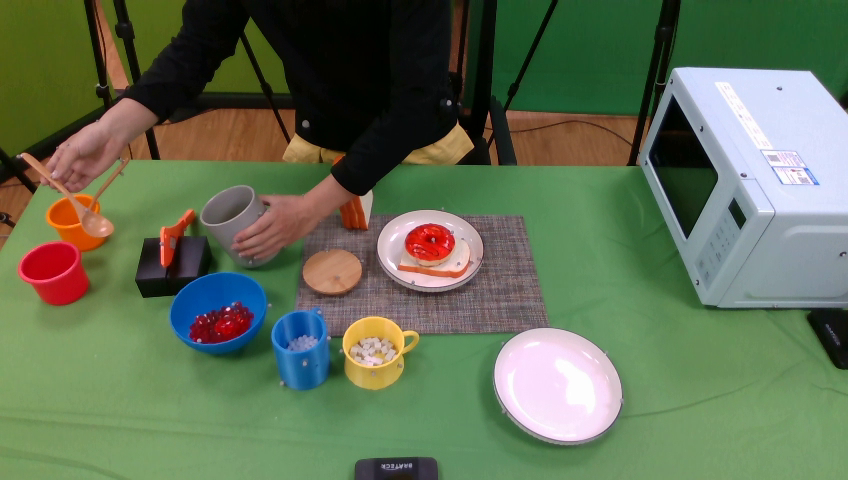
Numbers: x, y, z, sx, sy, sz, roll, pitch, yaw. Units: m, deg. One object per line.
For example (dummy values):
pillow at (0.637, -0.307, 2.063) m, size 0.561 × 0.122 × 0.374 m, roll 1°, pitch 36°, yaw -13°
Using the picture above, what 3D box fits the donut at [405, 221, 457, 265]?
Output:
donut at (0.013, 0.004, 1.136) m, size 0.099 × 0.048 × 0.098 m, roll 0°, pitch 46°, yaw 0°

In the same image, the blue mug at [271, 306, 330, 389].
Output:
blue mug at (-0.188, 0.163, 0.969) m, size 0.082 × 0.106 × 0.116 m, roll 15°, pitch 47°, yaw 10°

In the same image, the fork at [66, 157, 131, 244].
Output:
fork at (-0.609, -0.074, 1.133) m, size 0.207 × 0.019 × 0.028 m, roll -52°, pitch 52°, yaw 10°

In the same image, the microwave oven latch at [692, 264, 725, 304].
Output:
microwave oven latch at (0.522, 0.081, 1.116) m, size 0.030 × 0.029 × 0.078 m, roll 1°, pitch 46°, yaw -2°

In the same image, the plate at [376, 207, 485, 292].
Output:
plate at (0.012, 0.021, 1.159) m, size 0.209 × 0.038 × 0.208 m, roll 2°, pitch 47°, yaw -2°

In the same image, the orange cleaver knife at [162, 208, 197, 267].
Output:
orange cleaver knife at (-0.454, -0.010, 1.129) m, size 0.012 × 0.077 × 0.210 m, roll -2°, pitch 17°, yaw -5°

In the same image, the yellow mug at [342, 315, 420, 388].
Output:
yellow mug at (-0.068, 0.177, 0.991) m, size 0.131 × 0.064 × 0.099 m, roll -15°, pitch 50°, yaw -19°

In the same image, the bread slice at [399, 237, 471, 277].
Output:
bread slice at (0.025, 0.025, 1.161) m, size 0.131 × 0.019 × 0.104 m, roll 7°, pitch 47°, yaw 8°

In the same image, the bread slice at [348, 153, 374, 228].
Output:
bread slice at (-0.125, -0.105, 1.207) m, size 0.018 × 0.135 × 0.106 m, roll -2°, pitch 47°, yaw 9°

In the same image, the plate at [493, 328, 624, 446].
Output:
plate at (0.213, 0.236, 0.974) m, size 0.208 × 0.039 × 0.206 m, roll 2°, pitch 46°, yaw -2°

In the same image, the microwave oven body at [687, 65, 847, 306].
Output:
microwave oven body at (0.669, -0.111, 1.176) m, size 0.326 × 0.261 × 0.439 m, roll 0°, pitch 46°, yaw -3°

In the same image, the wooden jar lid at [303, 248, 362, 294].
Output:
wooden jar lid at (-0.169, 0.059, 1.122) m, size 0.108 × 0.021 × 0.107 m, roll 2°, pitch 46°, yaw -2°

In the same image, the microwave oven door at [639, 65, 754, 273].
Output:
microwave oven door at (0.522, -0.147, 1.192) m, size 0.039 × 0.245 × 0.353 m, roll 0°, pitch 47°, yaw -3°

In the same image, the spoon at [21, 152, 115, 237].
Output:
spoon at (-0.583, -0.076, 0.991) m, size 0.194 × 0.021 × 0.041 m, roll 47°, pitch 48°, yaw -5°

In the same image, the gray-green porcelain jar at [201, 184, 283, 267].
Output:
gray-green porcelain jar at (-0.326, -0.022, 1.108) m, size 0.106 × 0.127 × 0.105 m, roll -13°, pitch 43°, yaw 13°

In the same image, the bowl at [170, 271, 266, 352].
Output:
bowl at (-0.333, 0.132, 1.006) m, size 0.151 × 0.077 × 0.150 m, roll 2°, pitch 46°, yaw -2°
